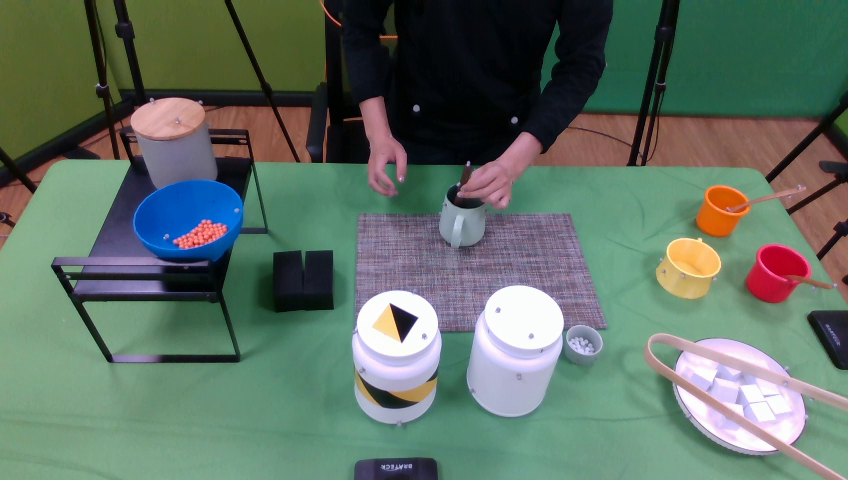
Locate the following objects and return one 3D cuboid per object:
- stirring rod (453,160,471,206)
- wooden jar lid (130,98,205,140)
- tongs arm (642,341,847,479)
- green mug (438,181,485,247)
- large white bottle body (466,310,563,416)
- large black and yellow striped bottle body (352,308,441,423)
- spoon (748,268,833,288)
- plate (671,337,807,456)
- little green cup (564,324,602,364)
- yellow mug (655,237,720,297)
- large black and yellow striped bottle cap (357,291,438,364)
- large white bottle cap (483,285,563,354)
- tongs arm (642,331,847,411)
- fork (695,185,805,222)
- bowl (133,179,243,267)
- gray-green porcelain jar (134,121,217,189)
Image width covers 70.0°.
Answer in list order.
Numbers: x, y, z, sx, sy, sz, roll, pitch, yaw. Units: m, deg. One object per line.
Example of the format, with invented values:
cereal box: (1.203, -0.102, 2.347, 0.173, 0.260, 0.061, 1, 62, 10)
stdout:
stirring rod: (0.064, -0.082, 1.120, 0.014, 0.177, 0.006, -1, 52, -11)
wooden jar lid: (-0.393, -0.183, 0.934, 0.108, 0.021, 0.107, 2, 44, -2)
tongs arm: (0.504, 0.278, 0.917, 0.386, 0.028, 0.028, 34, 59, 22)
green mug: (0.071, -0.039, 1.177, 0.092, 0.105, 0.124, 12, 46, 7)
large white bottle body: (0.138, 0.171, 0.932, 0.131, 0.185, 0.130, 2, 46, -2)
large black and yellow striped bottle body: (-0.042, 0.177, 0.913, 0.131, 0.185, 0.130, 2, 46, -2)
spoon: (0.660, 0.068, 1.097, 0.041, 0.193, 0.021, -4, 91, -6)
plate: (0.503, 0.254, 0.984, 0.208, 0.039, 0.206, 2, 46, -2)
little green cup: (0.269, 0.179, 1.035, 0.061, 0.039, 0.061, 2, 45, -2)
yellow mug: (0.509, 0.041, 1.167, 0.099, 0.064, 0.130, 24, 48, 18)
large black and yellow striped bottle cap: (-0.037, 0.121, 0.851, 0.115, 0.019, 0.114, 1, 46, -1)
large white bottle cap: (0.142, 0.112, 0.871, 0.115, 0.018, 0.114, 3, 46, -2)
tongs arm: (0.546, 0.227, 0.968, 0.384, 0.026, 0.050, 22, 52, 13)
fork: (0.657, -0.074, 1.230, 0.207, 0.019, 0.028, -23, 34, 37)
bowl: (-0.339, -0.013, 0.895, 0.151, 0.077, 0.150, 2, 46, -2)
gray-green porcelain jar: (-0.397, -0.141, 0.980, 0.106, 0.127, 0.105, 2, 47, -2)
